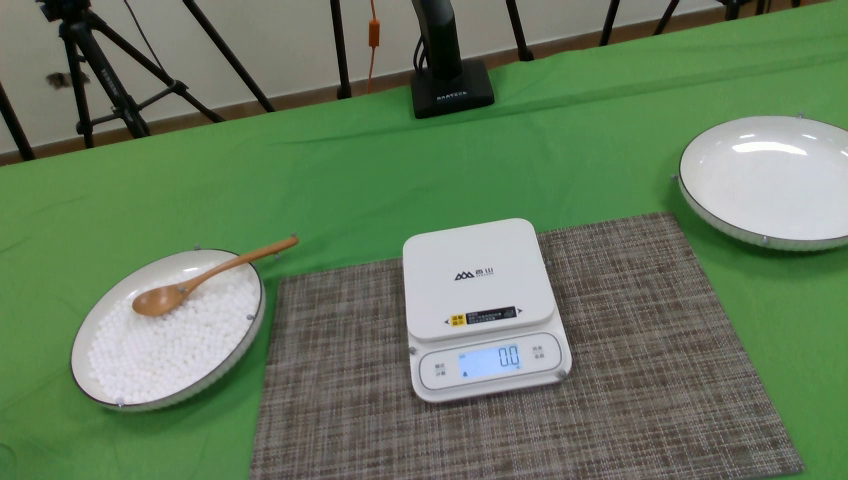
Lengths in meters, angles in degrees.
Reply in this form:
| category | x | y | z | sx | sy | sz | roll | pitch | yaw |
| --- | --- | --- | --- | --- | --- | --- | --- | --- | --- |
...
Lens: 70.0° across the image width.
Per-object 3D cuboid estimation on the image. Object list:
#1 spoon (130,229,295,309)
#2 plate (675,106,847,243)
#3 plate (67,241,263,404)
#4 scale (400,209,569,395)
| category | x | y | z | sx | sy | sz | roll | pitch | yaw |
| --- | --- | --- | --- | --- | --- | --- | --- | --- | --- |
| spoon | -0.235 | 0.029 | 0.681 | 0.194 | 0.022 | 0.041 | -26 | 45 | -1 |
| plate | 0.379 | -0.069 | 0.649 | 0.207 | 0.039 | 0.205 | -7 | 45 | 7 |
| plate | -0.273 | 0.088 | 0.656 | 0.209 | 0.038 | 0.207 | -6 | 46 | 7 |
| scale | 0.052 | 0.053 | 0.609 | 0.148 | 0.032 | 0.198 | -11 | 46 | 4 |
